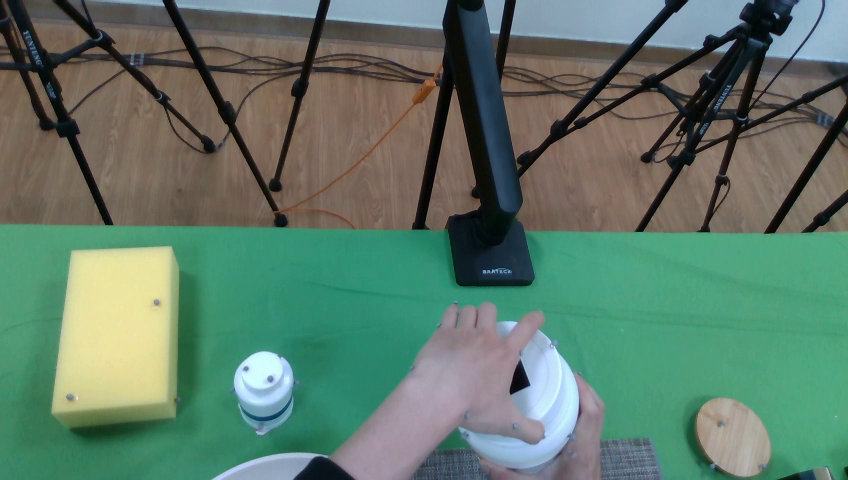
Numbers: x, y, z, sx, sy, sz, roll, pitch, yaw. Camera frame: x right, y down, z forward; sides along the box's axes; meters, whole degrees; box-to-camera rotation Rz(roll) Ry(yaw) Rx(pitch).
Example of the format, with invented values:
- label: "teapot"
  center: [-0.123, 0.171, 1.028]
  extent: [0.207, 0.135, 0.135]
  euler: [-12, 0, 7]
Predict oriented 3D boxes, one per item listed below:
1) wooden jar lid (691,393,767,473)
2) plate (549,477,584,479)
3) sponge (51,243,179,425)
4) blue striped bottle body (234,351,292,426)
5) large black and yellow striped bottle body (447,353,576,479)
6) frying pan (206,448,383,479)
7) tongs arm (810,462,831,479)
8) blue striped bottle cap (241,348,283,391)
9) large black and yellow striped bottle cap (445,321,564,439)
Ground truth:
- label: "wooden jar lid"
  center: [0.416, 0.265, 0.833]
  extent: [0.108, 0.021, 0.107]
  euler: [5, 59, -9]
- label: "plate"
  center: [0.172, 0.382, 0.690]
  extent: [0.209, 0.038, 0.207]
  euler: [6, 57, -8]
- label: "sponge"
  center: [-0.365, 0.108, 0.732]
  extent: [0.118, 0.061, 0.205]
  euler: [-4, 59, -15]
- label: "blue striped bottle body"
  center: [-0.184, 0.168, 0.699]
  extent: [0.063, 0.121, 0.062]
  euler: [6, 57, -8]
- label: "large black and yellow striped bottle body"
  center: [0.097, 0.178, 0.655]
  extent: [0.130, 0.186, 0.129]
  euler: [-6, 58, 11]
- label: "frying pan"
  center: [-0.124, 0.444, 0.545]
  extent: [0.307, 0.103, 0.482]
  euler: [-1, 50, -10]
- label: "tongs arm"
  center: [0.542, 0.454, 0.698]
  extent: [0.051, 0.026, 0.382]
  euler: [-4, 69, -16]
- label: "blue striped bottle cap"
  center: [-0.176, 0.140, 0.657]
  extent: [0.045, 0.021, 0.044]
  euler: [6, 59, -9]
- label: "large black and yellow striped bottle cap"
  center: [0.075, 0.130, 0.577]
  extent: [0.115, 0.019, 0.114]
  euler: [-13, 50, 17]
